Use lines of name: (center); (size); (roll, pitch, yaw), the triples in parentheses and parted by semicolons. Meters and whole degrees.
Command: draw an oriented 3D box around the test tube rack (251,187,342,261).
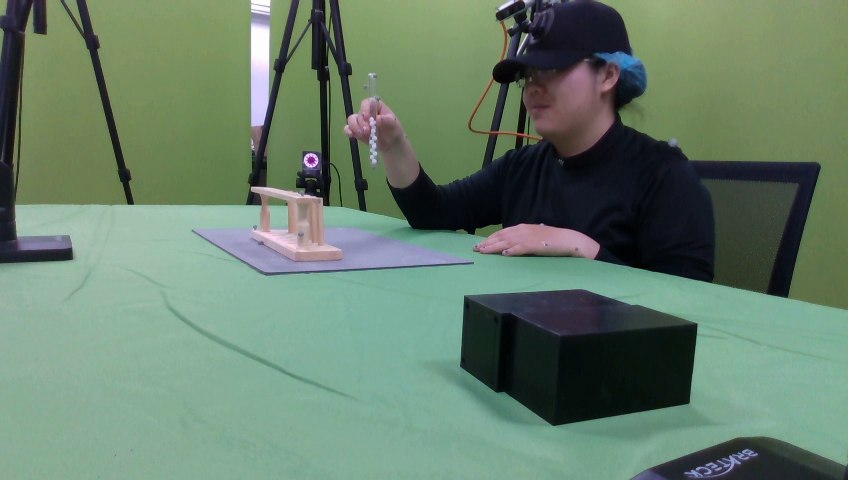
test tube rack: (-0.196, -0.030, 0.902); (0.067, 0.085, 0.241); (-1, 8, -29)

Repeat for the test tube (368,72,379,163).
test tube: (-0.084, -0.204, 1.011); (0.017, 0.150, 0.017); (-1, 6, 0)
